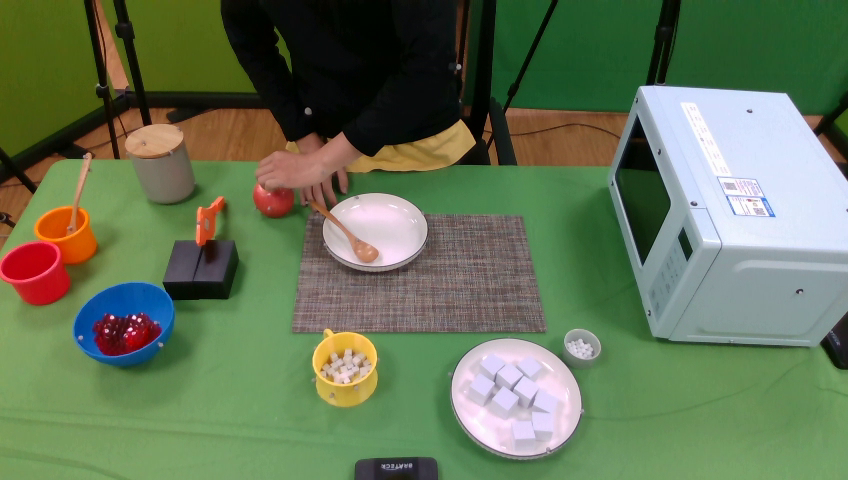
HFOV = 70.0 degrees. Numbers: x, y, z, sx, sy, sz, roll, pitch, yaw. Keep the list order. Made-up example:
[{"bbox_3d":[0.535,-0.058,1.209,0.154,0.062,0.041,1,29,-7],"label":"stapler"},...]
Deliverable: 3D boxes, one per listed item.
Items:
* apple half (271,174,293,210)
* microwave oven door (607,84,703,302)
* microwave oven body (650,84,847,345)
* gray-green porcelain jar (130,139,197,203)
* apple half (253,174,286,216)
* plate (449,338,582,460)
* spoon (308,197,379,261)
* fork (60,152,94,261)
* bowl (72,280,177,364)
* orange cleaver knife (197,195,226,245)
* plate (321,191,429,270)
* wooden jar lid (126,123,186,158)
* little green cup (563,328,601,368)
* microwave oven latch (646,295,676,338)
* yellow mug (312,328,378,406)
[{"bbox_3d":[-0.283,-0.097,1.227,0.033,0.081,0.081,-19,51,-25],"label":"apple half"},{"bbox_3d":[0.424,-0.096,1.138,0.039,0.245,0.353,3,46,-1],"label":"microwave oven door"},{"bbox_3d":[0.569,-0.054,1.116,0.326,0.261,0.439,2,46,-1],"label":"microwave oven body"},{"bbox_3d":[-0.522,-0.148,1.225,0.106,0.127,0.105,2,47,-2],"label":"gray-green porcelain jar"},{"bbox_3d":[-0.315,-0.085,1.219,0.053,0.075,0.080,-21,56,-18],"label":"apple half"},{"bbox_3d":[0.141,0.251,0.956,0.208,0.039,0.206,2,46,-2],"label":"plate"},{"bbox_3d":[-0.159,-0.025,1.172,0.041,0.022,0.193,-41,73,-20],"label":"spoon"},{"bbox_3d":[-0.638,-0.063,1.119,0.028,0.018,0.207,12,90,10],"label":"fork"},{"bbox_3d":[-0.473,0.147,0.982,0.151,0.077,0.150,2,46,-2],"label":"bowl"},{"bbox_3d":[-0.405,-0.041,1.157,0.012,0.077,0.210,2,14,-7],"label":"orange cleaver knife"},{"bbox_3d":[-0.094,-0.015,1.185,0.209,0.038,0.208,2,46,-2],"label":"plate"},{"bbox_3d":[-0.519,-0.190,1.179,0.108,0.021,0.107,2,44,-2],"label":"wooden jar lid"},{"bbox_3d":[0.265,0.185,1.025,0.061,0.039,0.061,1,45,-1],"label":"little green cup"},{"bbox_3d":[0.413,0.133,1.061,0.030,0.029,0.078,4,46,1],"label":"microwave oven latch"},{"bbox_3d":[-0.132,0.193,0.971,0.100,0.064,0.130,-22,51,-22],"label":"yellow mug"}]
